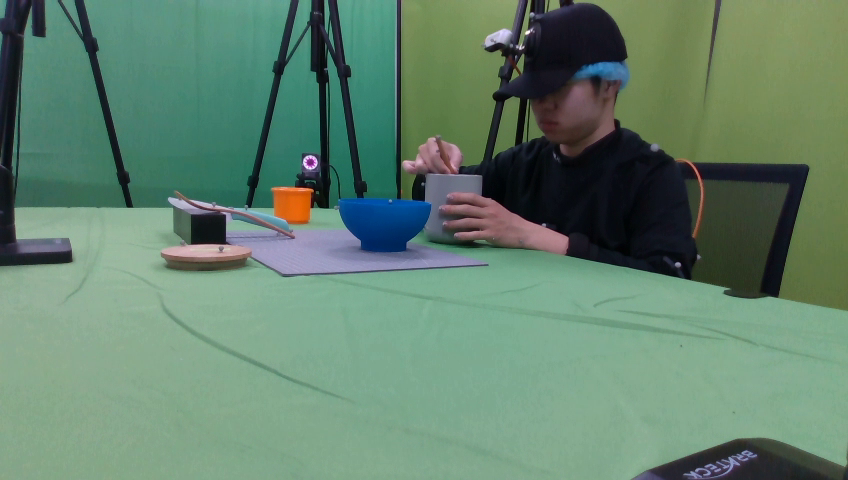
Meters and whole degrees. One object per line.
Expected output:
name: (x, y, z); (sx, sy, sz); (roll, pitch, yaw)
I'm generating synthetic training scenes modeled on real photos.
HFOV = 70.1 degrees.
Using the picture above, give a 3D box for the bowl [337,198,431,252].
bowl: (-0.066, -0.024, 0.967); (0.151, 0.077, 0.151); (3, 7, 0)

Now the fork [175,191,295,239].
fork: (-0.305, -0.039, 0.993); (0.208, 0.018, 0.028); (19, -9, -34)

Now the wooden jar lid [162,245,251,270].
wooden jar lid: (-0.278, 0.022, 0.777); (0.108, 0.020, 0.108); (2, 6, 0)

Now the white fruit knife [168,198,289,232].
white fruit knife: (-0.329, -0.044, 1.036); (0.208, 0.027, 0.016); (14, -1, -32)

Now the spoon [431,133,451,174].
spoon: (0.047, -0.102, 1.094); (0.022, 0.194, 0.041); (-18, 20, -5)

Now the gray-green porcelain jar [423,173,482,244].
gray-green porcelain jar: (0.052, -0.059, 1.116); (0.106, 0.126, 0.106); (3, 7, 0)
